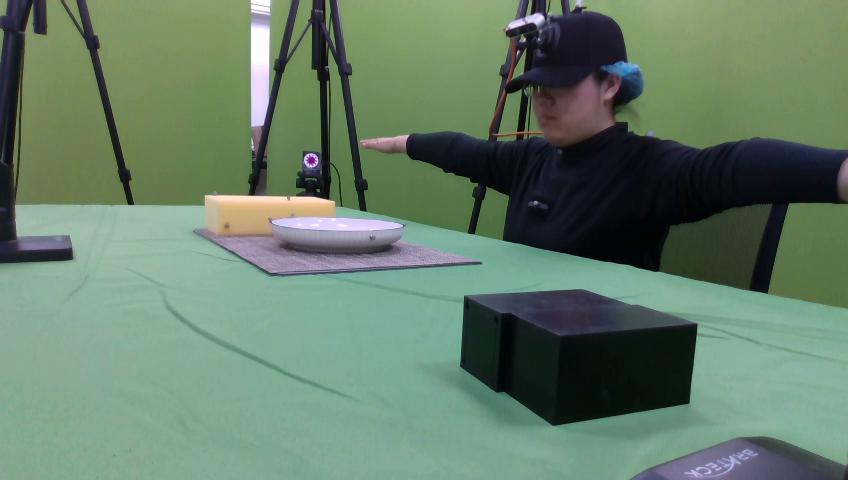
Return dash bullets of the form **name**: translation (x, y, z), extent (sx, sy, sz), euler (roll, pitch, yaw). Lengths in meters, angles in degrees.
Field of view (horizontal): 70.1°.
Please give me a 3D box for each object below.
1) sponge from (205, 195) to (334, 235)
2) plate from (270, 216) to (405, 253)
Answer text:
- **sponge**: translation (-0.280, -0.047, 1.097), extent (0.208, 0.061, 0.117), euler (-2, 9, -30)
- **plate**: translation (-0.134, -0.010, 0.946), extent (0.208, 0.039, 0.207), euler (2, 7, 0)
